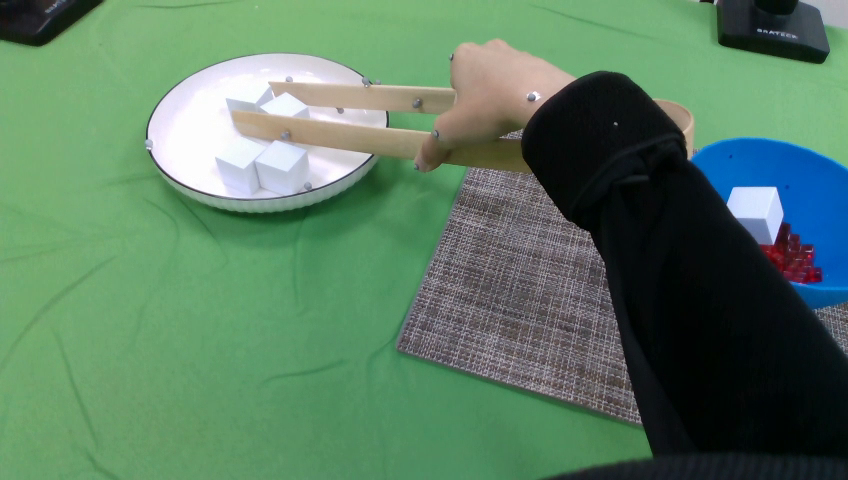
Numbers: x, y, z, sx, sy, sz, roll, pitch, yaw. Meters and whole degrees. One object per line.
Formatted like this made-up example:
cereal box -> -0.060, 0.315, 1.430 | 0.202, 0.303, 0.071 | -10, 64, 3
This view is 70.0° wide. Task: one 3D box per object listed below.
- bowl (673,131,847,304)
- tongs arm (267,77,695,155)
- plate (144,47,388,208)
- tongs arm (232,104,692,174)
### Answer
bowl -> 0.255, -0.004, 0.455 | 0.151, 0.077, 0.150 | 2, 50, -1
tongs arm -> 0.010, -0.104, 0.476 | 0.382, 0.027, 0.050 | 9, 46, 29
plate -> -0.137, -0.102, 0.548 | 0.209, 0.038, 0.207 | 2, 50, -2
tongs arm -> -0.006, -0.083, 0.458 | 0.385, 0.028, 0.028 | 11, 43, 30
